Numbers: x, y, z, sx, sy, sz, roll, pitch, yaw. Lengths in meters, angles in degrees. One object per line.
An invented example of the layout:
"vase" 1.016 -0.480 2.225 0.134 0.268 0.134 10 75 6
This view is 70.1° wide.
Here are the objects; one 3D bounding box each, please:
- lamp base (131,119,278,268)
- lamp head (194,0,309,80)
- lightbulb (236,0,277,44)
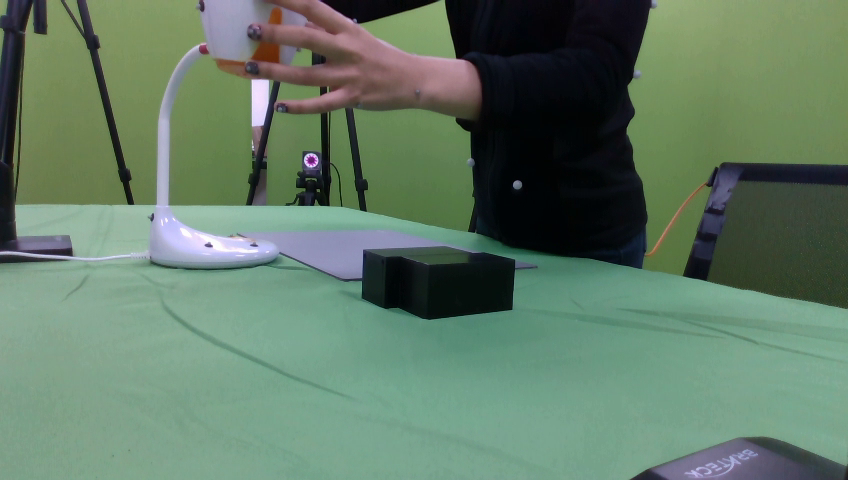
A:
"lamp base" -0.279 -0.061 0.770 0.160 0.180 0.180 9 13 44
"lamp head" -0.167 -0.215 0.572 0.112 0.123 0.112 9 8 -1
"lightbulb" -0.156 -0.238 0.570 0.059 0.107 0.059 10 1 0
